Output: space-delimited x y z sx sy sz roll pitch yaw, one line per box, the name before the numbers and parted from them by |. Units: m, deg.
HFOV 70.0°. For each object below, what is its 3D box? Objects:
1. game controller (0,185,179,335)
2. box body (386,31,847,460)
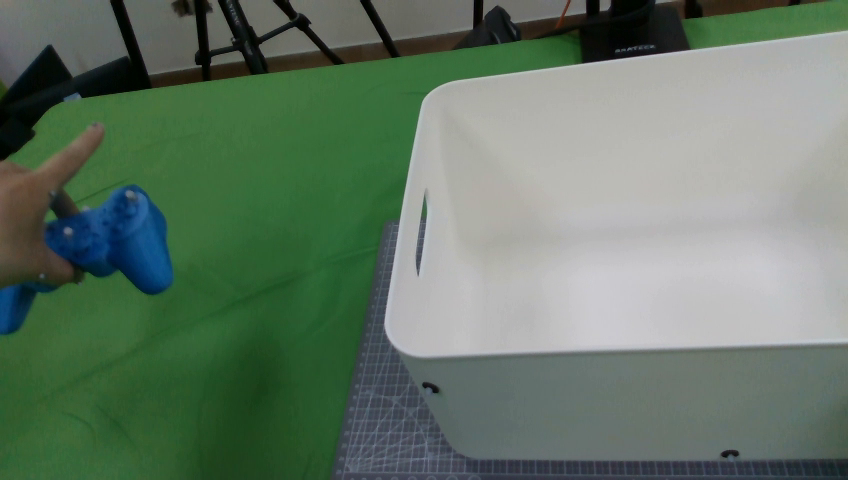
game controller | -0.278 0.011 0.487 0.155 0.052 0.096 -14 59 3
box body | 0.180 0.008 0.420 0.363 0.162 0.252 -4 47 12
